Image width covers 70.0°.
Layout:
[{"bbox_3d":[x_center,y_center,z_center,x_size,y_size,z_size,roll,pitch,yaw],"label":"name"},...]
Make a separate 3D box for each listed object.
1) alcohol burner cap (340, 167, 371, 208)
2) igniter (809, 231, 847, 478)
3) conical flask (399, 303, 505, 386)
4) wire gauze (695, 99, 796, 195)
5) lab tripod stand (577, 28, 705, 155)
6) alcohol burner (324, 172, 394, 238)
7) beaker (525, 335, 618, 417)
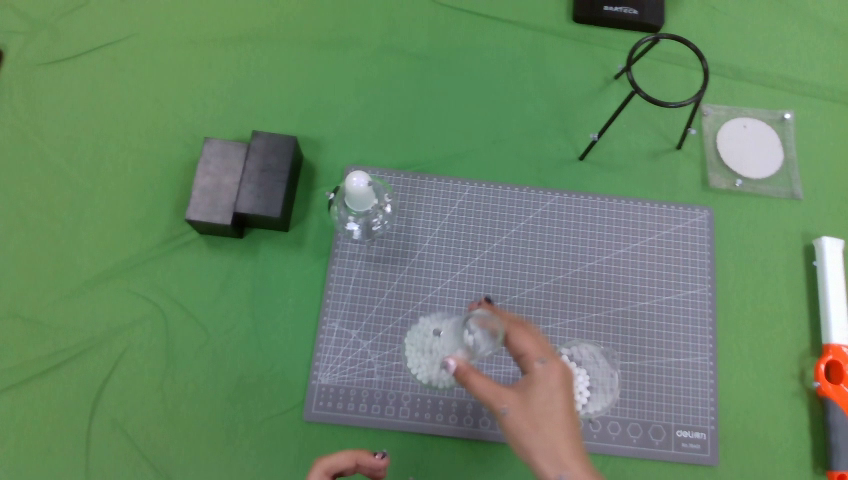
[{"bbox_3d":[-0.071,-0.057,0.627,0.034,0.048,0.033,2,66,-4],"label":"alcohol burner cap"},{"bbox_3d":[0.462,0.123,0.684,0.057,0.025,0.275,10,73,-11],"label":"igniter"},{"bbox_3d":[0.028,0.083,0.516,0.075,0.122,0.075,5,72,-16],"label":"conical flask"},{"bbox_3d":[0.406,-0.120,0.763,0.125,0.011,0.121,5,74,-3],"label":"wire gauze"},{"bbox_3d":[0.250,-0.165,0.703,0.148,0.132,0.147,1,75,-2],"label":"lab tripod stand"},{"bbox_3d":[-0.072,-0.045,0.661,0.078,0.119,0.077,0,74,0],"label":"alcohol burner"},{"bbox_3d":[0.149,0.141,0.625,0.084,0.101,0.073,-35,78,-12],"label":"beaker"}]
